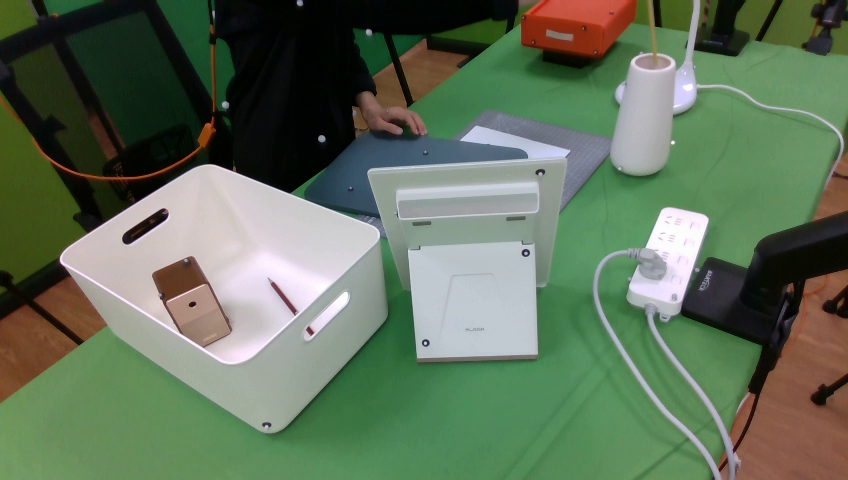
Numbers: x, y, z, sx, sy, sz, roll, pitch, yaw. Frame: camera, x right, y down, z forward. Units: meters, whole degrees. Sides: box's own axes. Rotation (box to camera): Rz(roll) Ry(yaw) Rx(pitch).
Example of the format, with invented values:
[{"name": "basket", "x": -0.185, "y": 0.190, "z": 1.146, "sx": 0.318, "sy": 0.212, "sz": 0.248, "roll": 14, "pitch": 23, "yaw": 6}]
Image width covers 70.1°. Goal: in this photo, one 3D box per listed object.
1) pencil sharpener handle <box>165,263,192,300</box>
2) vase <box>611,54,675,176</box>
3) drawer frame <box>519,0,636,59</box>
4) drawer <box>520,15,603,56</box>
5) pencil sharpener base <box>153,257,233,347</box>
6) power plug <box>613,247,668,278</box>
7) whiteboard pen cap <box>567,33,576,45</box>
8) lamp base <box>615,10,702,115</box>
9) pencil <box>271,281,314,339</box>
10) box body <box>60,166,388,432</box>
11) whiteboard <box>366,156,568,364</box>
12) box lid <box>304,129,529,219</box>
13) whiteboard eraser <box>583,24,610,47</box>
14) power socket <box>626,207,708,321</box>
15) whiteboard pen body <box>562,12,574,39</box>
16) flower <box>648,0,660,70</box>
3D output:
[{"name": "pencil sharpener handle", "x": -0.353, "y": 0.054, "z": 0.867, "sx": 0.036, "sy": 0.068, "sz": 0.030, "roll": -18, "pitch": 40, "yaw": -28}, {"name": "vase", "x": 0.377, "y": -0.209, "z": 1.031, "sx": 0.098, "sy": 0.201, "sz": 0.097, "roll": -3, "pitch": 40, "yaw": 3}, {"name": "drawer frame", "x": 0.362, "y": -0.518, "z": 1.423, "sx": 0.200, "sy": 0.083, "sz": 0.214, "roll": 19, "pitch": 48, "yaw": 29}, {"name": "drawer", "x": 0.359, "y": -0.517, "z": 1.417, "sx": 0.193, "sy": 0.073, "sz": 0.212, "roll": 20, "pitch": 47, "yaw": 29}, {"name": "pencil sharpener base", "x": -0.321, "y": 0.088, "z": 0.843, "sx": 0.061, "sy": 0.107, "sz": 0.076, "roll": -28, "pitch": 44, "yaw": -20}, {"name": "power plug", "x": 0.306, "y": 0.032, "z": 0.851, "sx": 0.072, "sy": 0.053, "sz": 0.035, "roll": 24, "pitch": 49, "yaw": 34}, {"name": "whiteboard pen cap", "x": 0.339, "y": -0.463, "z": 1.390, "sx": 0.018, "sy": 0.018, "sz": 0.033, "roll": -2, "pitch": 44, "yaw": 5}, {"name": "lamp base", "x": 0.484, "y": -0.363, "z": 1.211, "sx": 0.180, "sy": 0.181, "sz": 0.159, "roll": -15, "pitch": 41, "yaw": -14}, {"name": "pencil", "x": -0.187, "y": 0.106, "z": 0.880, "sx": 0.012, "sy": 0.012, "sz": 0.192, "roll": -27, "pitch": 41, "yaw": -22}, {"name": "box body", "x": -0.256, "y": 0.065, "z": 0.827, "sx": 0.361, "sy": 0.161, "sz": 0.255, "roll": 20, "pitch": 48, "yaw": 29}, {"name": "whiteboard", "x": 0.059, "y": 0.050, "z": 0.738, "sx": 0.217, "sy": 0.307, "sz": 0.143, "roll": -2, "pitch": 60, "yaw": 6}, {"name": "box lid", "x": -0.010, "y": -0.117, "z": 1.122, "sx": 0.369, "sy": 0.015, "sz": 0.263, "roll": 11, "pitch": 44, "yaw": 22}, {"name": "whiteboard eraser", "x": 0.407, "y": -0.479, "z": 1.423, "sx": 0.055, "sy": 0.042, "sz": 0.113, "roll": -3, "pitch": 10, "yaw": 20}, {"name": "power socket", "x": 0.359, "y": 0.025, "z": 0.886, "sx": 0.072, "sy": 0.033, "sz": 0.227, "roll": 16, "pitch": 46, "yaw": 26}, {"name": "whiteboard pen body", "x": 0.341, "y": -0.506, "z": 1.430, "sx": 0.017, "sy": 0.017, "sz": 0.140, "roll": -2, "pitch": 42, "yaw": 6}, {"name": "flower", "x": 0.316, "y": -0.399, "z": 0.862, "sx": 0.038, "sy": 0.364, "sz": 0.044, "roll": -3, "pitch": 44, "yaw": 26}]
